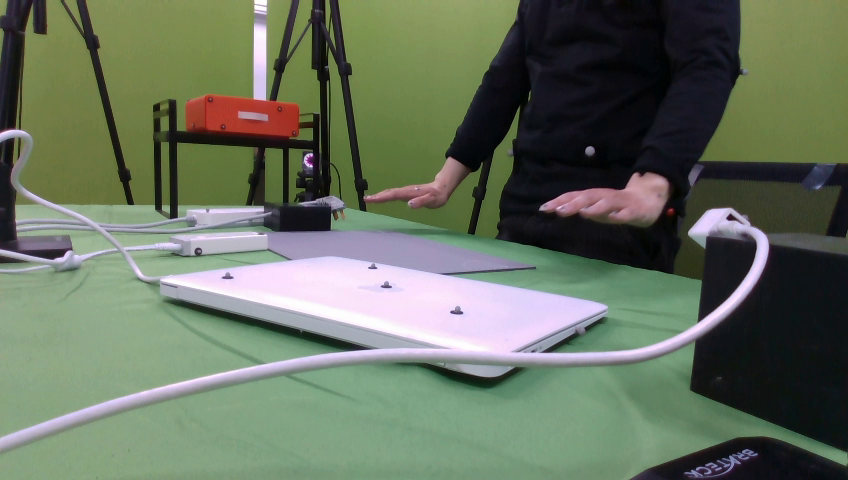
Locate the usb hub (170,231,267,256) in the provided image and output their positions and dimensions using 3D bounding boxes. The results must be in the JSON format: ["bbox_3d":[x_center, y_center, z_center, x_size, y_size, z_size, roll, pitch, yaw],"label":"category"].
[{"bbox_3d":[-0.290,0.004,0.862,0.049,0.025,0.126,10,11,42],"label":"usb hub"}]

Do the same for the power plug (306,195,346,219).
[{"bbox_3d":[-0.192,-0.061,1.199,0.073,0.052,0.035,-18,-7,-9],"label":"power plug"}]

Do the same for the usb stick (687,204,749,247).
[{"bbox_3d":[0.214,-0.010,0.448,0.021,0.027,0.059,39,2,6],"label":"usb stick"}]

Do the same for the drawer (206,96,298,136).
[{"bbox_3d":[-0.414,-0.276,1.376,0.195,0.073,0.210,-3,9,-31],"label":"drawer"}]

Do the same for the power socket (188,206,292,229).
[{"bbox_3d":[-0.363,-0.048,1.209,0.072,0.032,0.228,7,9,36],"label":"power socket"}]

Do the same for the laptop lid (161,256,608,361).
[{"bbox_3d":[-0.037,0.046,0.556,0.355,0.013,0.243,8,8,35],"label":"laptop lid"}]

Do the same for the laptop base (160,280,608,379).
[{"bbox_3d":[-0.038,0.058,0.555,0.352,0.023,0.237,7,7,33],"label":"laptop base"}]

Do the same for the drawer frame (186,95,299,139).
[{"bbox_3d":[-0.417,-0.277,1.378,0.203,0.082,0.212,-3,8,-32],"label":"drawer frame"}]

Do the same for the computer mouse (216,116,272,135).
[{"bbox_3d":[-0.402,-0.257,1.353,0.118,0.041,0.062,-5,14,-35],"label":"computer mouse"}]
